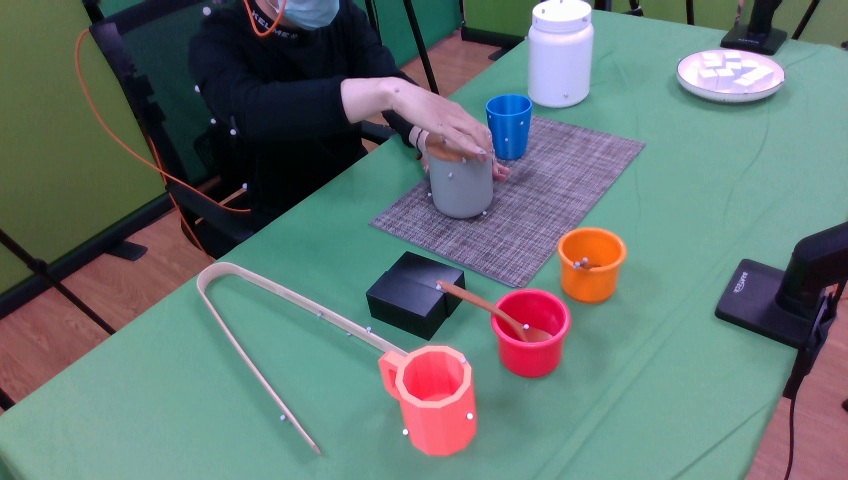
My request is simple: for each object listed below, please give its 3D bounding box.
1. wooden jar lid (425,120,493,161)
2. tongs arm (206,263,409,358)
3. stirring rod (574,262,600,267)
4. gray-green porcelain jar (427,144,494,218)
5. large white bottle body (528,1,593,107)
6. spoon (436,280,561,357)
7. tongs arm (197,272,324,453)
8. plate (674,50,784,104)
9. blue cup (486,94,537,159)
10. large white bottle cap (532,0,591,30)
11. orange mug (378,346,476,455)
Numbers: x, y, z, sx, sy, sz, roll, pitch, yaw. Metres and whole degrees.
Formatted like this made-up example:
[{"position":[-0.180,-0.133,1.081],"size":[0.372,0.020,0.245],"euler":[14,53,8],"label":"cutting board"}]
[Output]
[{"position":[0.057,-0.156,0.968],"size":[0.108,0.021,0.108],"euler":[-4,44,4],"label":"wooden jar lid"},{"position":[-0.179,0.106,0.870],"size":[0.381,0.027,0.051],"euler":[23,54,32],"label":"tongs arm"},{"position":[0.222,0.033,0.816],"size":[0.014,0.006,0.177],"euler":[7,0,22],"label":"stirring rod"},{"position":[0.063,-0.109,1.008],"size":[0.106,0.127,0.105],"euler":[-4,41,4],"label":"gray-green porcelain jar"},{"position":[0.282,-0.386,1.259],"size":[0.130,0.185,0.130],"euler":[-5,41,5],"label":"large white bottle body"},{"position":[0.096,0.095,0.757],"size":[0.195,0.021,0.041],"euler":[34,41,-20],"label":"spoon"},{"position":[-0.236,0.154,0.830],"size":[0.028,0.028,0.384],"euler":[-37,48,-18],"label":"tongs arm"},{"position":[0.631,-0.336,1.262],"size":[0.207,0.039,0.206],"euler":[-4,41,4],"label":"plate"},{"position":[0.160,-0.208,1.129],"size":[0.092,0.100,0.092],"euler":[-4,39,4],"label":"blue cup"},{"position":[0.274,-0.449,1.204],"size":[0.115,0.018,0.114],"euler":[-4,41,4],"label":"large white bottle cap"},{"position":[0.002,0.179,0.708],"size":[0.125,0.101,0.083],"euler":[25,50,27],"label":"orange mug"}]
